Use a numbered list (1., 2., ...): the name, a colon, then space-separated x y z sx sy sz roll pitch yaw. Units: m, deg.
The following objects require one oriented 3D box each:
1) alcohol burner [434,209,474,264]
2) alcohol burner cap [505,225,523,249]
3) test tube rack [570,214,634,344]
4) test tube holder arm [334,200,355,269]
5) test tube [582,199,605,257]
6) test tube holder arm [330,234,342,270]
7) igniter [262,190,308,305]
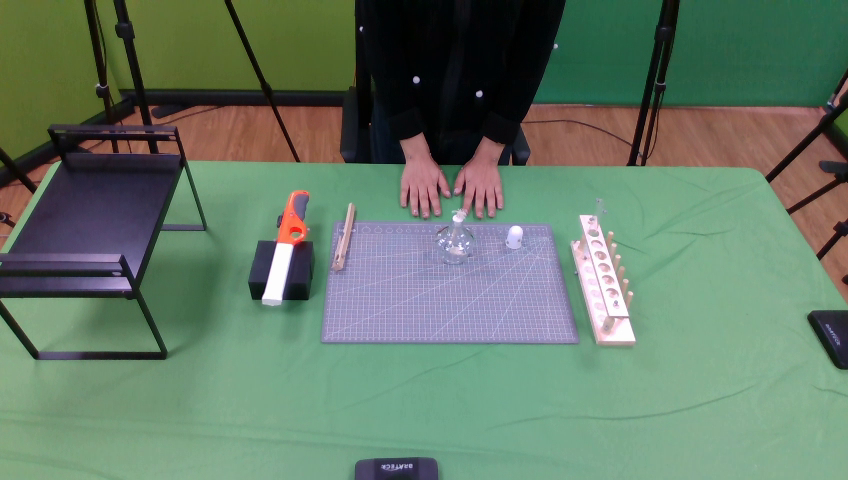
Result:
1. alcohol burner: 0.058 -0.011 1.147 0.078 0.119 0.077 3 45 -3
2. alcohol burner cap: 0.180 -0.009 1.203 0.034 0.048 0.033 2 46 -2
3. test tube rack: 0.333 0.067 1.116 0.067 0.085 0.241 1 46 -4
4. test tube holder arm: -0.154 -0.013 1.191 0.013 0.015 0.177 -15 42 23
5. test tube: 0.314 -0.019 1.129 0.017 0.151 0.017 -1 48 1
6. test tube holder arm: -0.164 0.021 1.163 0.010 0.015 0.087 -15 43 23
7. igniter: -0.252 0.004 1.107 0.057 0.025 0.275 7 47 -6
